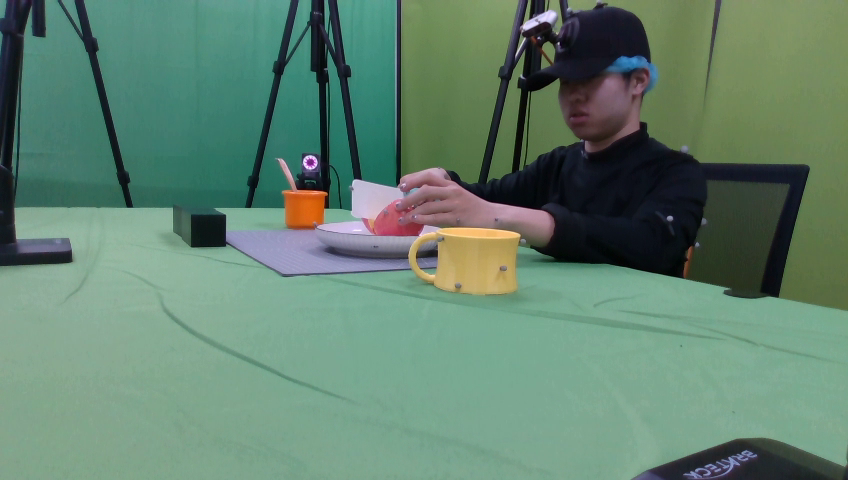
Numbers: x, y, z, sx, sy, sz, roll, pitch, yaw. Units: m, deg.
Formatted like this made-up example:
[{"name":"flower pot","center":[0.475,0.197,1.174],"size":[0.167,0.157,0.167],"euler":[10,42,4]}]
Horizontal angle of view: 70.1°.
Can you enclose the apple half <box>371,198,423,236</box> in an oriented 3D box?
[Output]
[{"name":"apple half","center":[-0.036,-0.021,0.925],"size":[0.074,0.053,0.081],"euler":[-39,-19,7]}]

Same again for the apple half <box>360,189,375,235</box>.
[{"name":"apple half","center":[-0.085,-0.041,0.953],"size":[0.032,0.081,0.081],"euler":[-3,4,26]}]

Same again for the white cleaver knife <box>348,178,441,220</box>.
[{"name":"white cleaver knife","center":[-0.045,-0.060,1.004],"size":[0.021,0.066,0.288],"euler":[-1,0,29]}]

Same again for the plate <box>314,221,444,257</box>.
[{"name":"plate","center":[-0.066,-0.002,0.948],"size":[0.209,0.038,0.209],"euler":[3,7,0]}]

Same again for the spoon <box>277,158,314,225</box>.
[{"name":"spoon","center":[-0.272,-0.103,1.260],"size":[0.042,0.193,0.021],"euler":[-5,-34,-33]}]

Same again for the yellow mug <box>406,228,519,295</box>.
[{"name":"yellow mug","center":[0.044,0.022,0.707],"size":[0.131,0.064,0.100],"euler":[2,7,5]}]
